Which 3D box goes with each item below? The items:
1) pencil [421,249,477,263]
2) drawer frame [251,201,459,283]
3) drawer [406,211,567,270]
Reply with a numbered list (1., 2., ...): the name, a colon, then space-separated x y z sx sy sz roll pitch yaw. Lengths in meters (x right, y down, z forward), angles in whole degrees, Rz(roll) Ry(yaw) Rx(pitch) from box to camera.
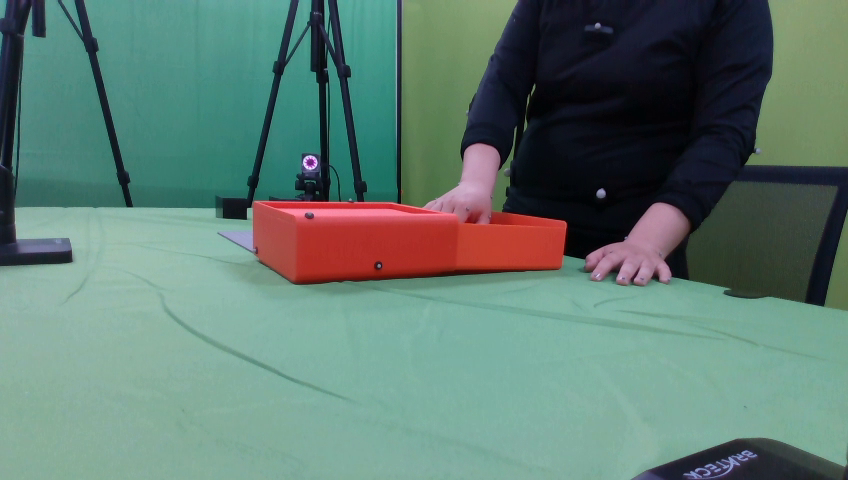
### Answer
1. pencil: 0.042 0.021 0.876 0.012 0.012 0.195 6 5 26
2. drawer frame: -0.095 -0.005 0.788 0.215 0.082 0.200 -2 10 -30
3. drawer: 0.063 -0.005 0.878 0.213 0.073 0.193 1 7 -30
